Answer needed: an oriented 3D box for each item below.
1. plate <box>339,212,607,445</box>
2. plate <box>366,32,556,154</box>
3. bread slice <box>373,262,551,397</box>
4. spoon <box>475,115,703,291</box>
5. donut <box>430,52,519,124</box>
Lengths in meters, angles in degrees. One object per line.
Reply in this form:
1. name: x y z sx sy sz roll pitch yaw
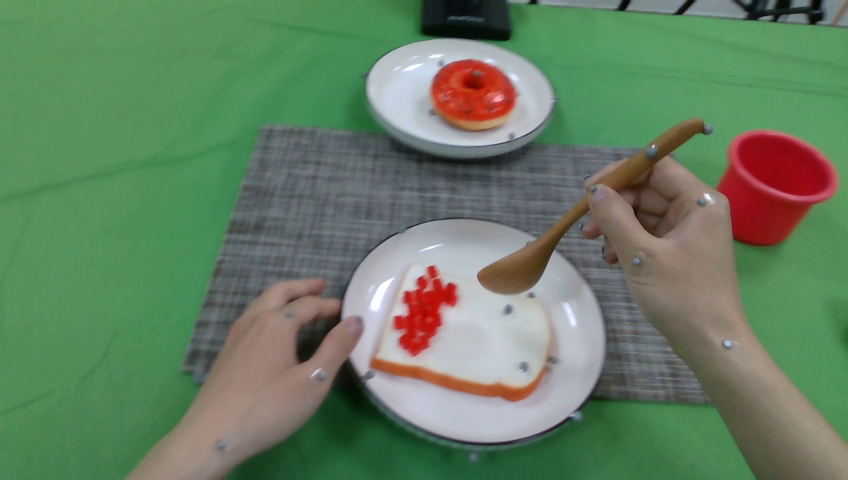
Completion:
1. plate: 0.038 0.065 0.483 0.209 0.038 0.207 2 50 -2
2. plate: 0.040 -0.160 0.673 0.208 0.039 0.205 3 48 -3
3. bread slice: 0.035 0.069 0.484 0.131 0.019 0.104 11 50 8
4. spoon: 0.097 -0.017 0.393 0.042 0.194 0.021 23 42 -22
5. donut: 0.055 -0.166 0.664 0.099 0.048 0.098 3 51 -3
